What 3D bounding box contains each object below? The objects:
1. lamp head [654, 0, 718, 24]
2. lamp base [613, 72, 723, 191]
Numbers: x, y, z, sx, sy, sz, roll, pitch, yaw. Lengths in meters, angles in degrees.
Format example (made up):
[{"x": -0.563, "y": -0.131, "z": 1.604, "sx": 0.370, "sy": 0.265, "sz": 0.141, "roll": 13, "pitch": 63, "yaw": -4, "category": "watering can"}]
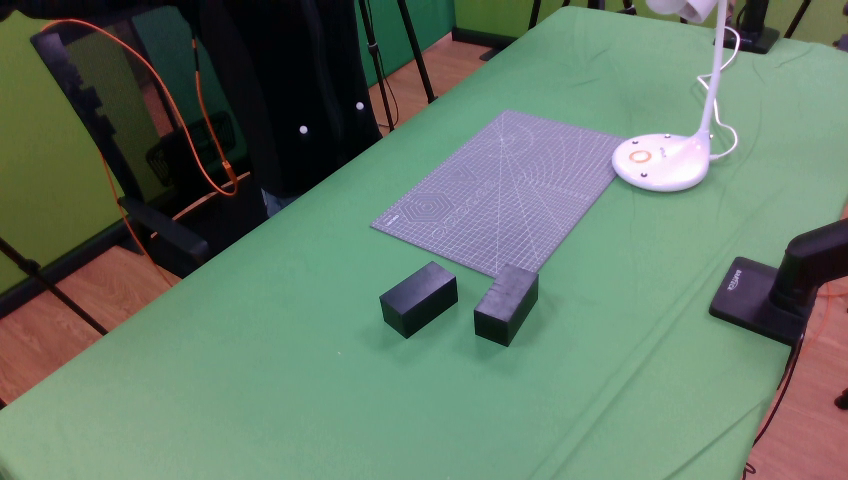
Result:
[{"x": 0.356, "y": -0.361, "z": 0.788, "sx": 0.123, "sy": 0.113, "sz": 0.111, "roll": -51, "pitch": 42, "yaw": 13, "category": "lamp head"}, {"x": 0.423, "y": -0.198, "z": 1.020, "sx": 0.179, "sy": 0.181, "sz": 0.159, "roll": -6, "pitch": 42, "yaw": -3, "category": "lamp base"}]
